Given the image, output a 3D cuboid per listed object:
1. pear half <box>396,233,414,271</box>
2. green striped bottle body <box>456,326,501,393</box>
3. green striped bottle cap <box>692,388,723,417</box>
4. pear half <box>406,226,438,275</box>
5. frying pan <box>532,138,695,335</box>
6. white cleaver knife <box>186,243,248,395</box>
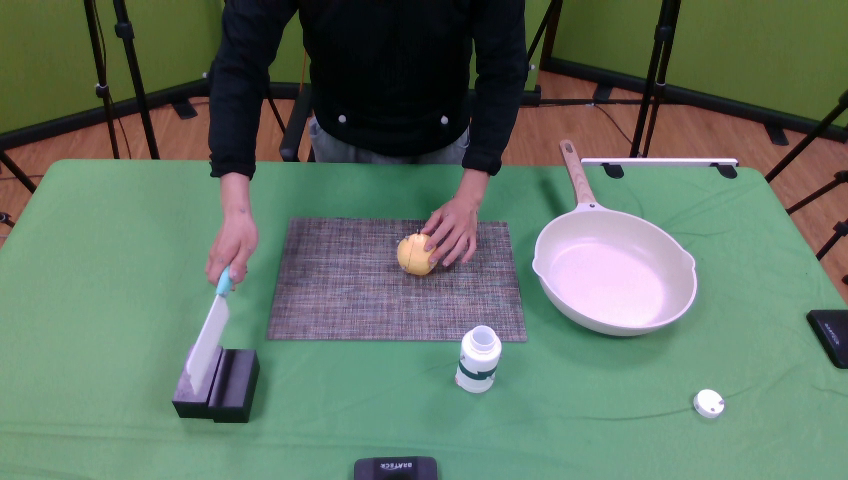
[{"bbox_3d":[-0.037,0.018,1.125,0.031,0.088,0.070,5,50,0],"label":"pear half"},{"bbox_3d":[0.086,0.186,0.959,0.063,0.120,0.063,2,47,-2],"label":"green striped bottle body"},{"bbox_3d":[0.460,0.263,0.984,0.044,0.020,0.044,3,46,-3],"label":"green striped bottle cap"},{"bbox_3d":[-0.001,0.016,1.116,0.056,0.110,0.076,5,50,-1],"label":"pear half"},{"bbox_3d":[0.336,-0.024,1.190,0.307,0.103,0.484,-2,55,-7],"label":"frying pan"},{"bbox_3d":[-0.321,0.111,0.946,0.021,0.066,0.284,3,41,2],"label":"white cleaver knife"}]
